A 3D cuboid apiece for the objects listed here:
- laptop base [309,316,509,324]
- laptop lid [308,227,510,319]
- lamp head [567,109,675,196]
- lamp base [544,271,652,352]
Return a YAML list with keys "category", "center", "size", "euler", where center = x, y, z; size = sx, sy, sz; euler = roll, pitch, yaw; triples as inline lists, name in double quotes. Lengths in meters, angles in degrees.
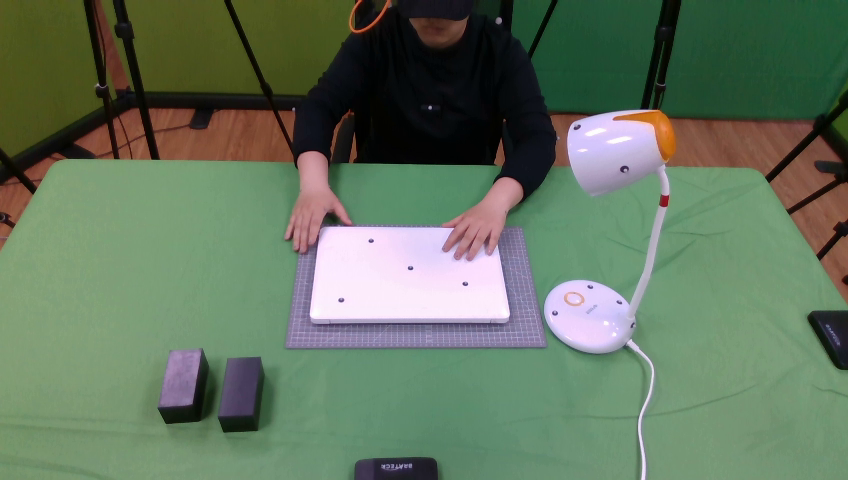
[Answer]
- category: "laptop base"
  center: [-0.028, 0.064, 1.136]
  size: [0.355, 0.023, 0.234]
  euler: [0, 42, -4]
- category: "laptop lid"
  center: [-0.028, 0.055, 1.129]
  size: [0.357, 0.013, 0.240]
  euler: [2, 44, -3]
- category: "lamp head"
  center: [0.272, -0.123, 0.818]
  size: [0.122, 0.113, 0.112]
  euler: [-9, 35, 37]
- category: "lamp base"
  center: [0.310, 0.086, 1.029]
  size: [0.178, 0.181, 0.160]
  euler: [32, 52, 21]
